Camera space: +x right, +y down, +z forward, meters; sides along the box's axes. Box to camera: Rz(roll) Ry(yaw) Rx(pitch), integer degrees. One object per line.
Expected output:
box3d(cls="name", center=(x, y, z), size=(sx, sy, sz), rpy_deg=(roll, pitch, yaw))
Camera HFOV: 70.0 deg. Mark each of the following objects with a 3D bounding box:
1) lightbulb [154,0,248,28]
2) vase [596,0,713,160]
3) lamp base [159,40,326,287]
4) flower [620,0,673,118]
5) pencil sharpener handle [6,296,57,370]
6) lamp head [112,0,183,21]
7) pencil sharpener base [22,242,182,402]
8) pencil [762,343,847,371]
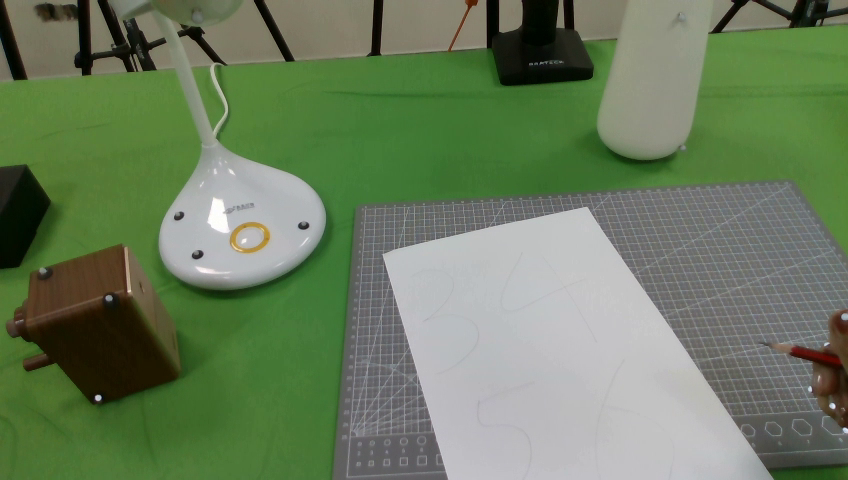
box3d(cls="lightbulb", center=(-0.133, -0.171, 0.328), size=(0.059, 0.108, 0.059), rpy_deg=(-14, 23, 6))
box3d(cls="vase", center=(0.234, -0.180, 0.613), size=(0.098, 0.202, 0.097), rpy_deg=(-3, 44, 3))
box3d(cls="lamp base", center=(-0.189, -0.076, 0.552), size=(0.161, 0.182, 0.177), rpy_deg=(-26, 47, -21))
box3d(cls="flower", center=(0.223, -0.223, 0.540), size=(0.044, 0.364, 0.038), rpy_deg=(38, 71, 18))
box3d(cls="pencil sharpener handle", center=(-0.292, 0.072, 0.445), size=(0.031, 0.068, 0.035), rpy_deg=(-19, 51, -13))
box3d(cls="lamp head", center=(-0.143, -0.195, 0.324), size=(0.112, 0.124, 0.111), rpy_deg=(-24, 21, 10))
box3d(cls="pencil sharpener base", center=(-0.243, 0.066, 0.466), size=(0.077, 0.108, 0.060), rpy_deg=(-19, 47, -13))
box3d(cls="pencil", center=(0.289, 0.082, 0.330), size=(0.192, 0.012, 0.012), rpy_deg=(12, 43, 44))
